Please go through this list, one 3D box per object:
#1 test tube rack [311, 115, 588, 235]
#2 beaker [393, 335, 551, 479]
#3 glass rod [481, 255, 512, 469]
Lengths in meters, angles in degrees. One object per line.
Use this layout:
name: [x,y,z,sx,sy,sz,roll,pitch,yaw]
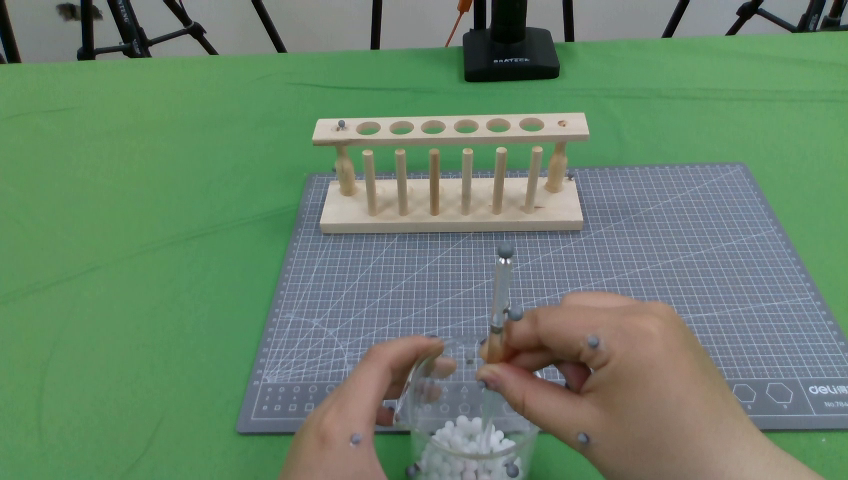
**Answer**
test tube rack: [0.023,-0.058,0.557,0.242,0.086,0.066,-1,44,3]
beaker: [0.025,0.116,0.347,0.084,0.101,0.073,-13,45,-13]
glass rod: [0.035,0.074,0.302,0.008,0.201,0.008,-1,48,2]
